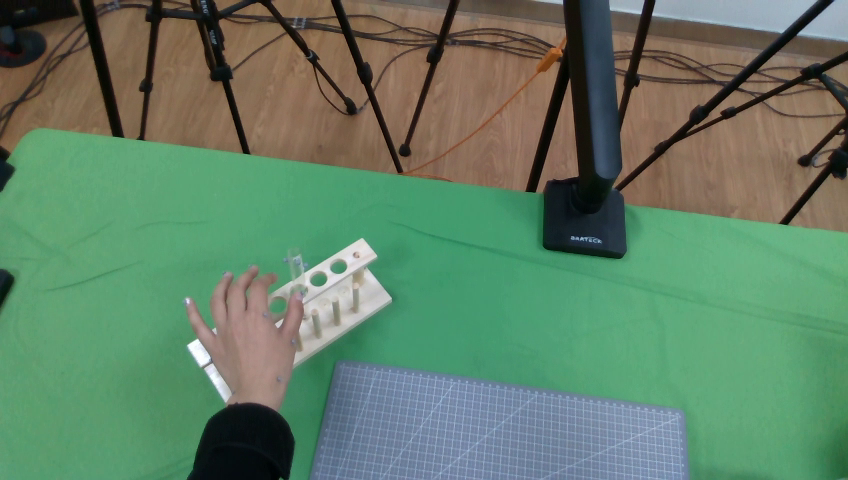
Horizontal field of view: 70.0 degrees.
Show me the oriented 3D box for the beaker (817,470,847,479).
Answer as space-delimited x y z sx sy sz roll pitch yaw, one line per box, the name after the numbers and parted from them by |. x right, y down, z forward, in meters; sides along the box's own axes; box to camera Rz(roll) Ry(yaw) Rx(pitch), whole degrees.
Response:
0.279 0.212 0.433 0.073 0.101 0.084 37 67 11 | beaker

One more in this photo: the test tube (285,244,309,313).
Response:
-0.152 0.050 0.732 0.017 0.151 0.017 3 56 -4 | test tube

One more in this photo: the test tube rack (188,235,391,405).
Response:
-0.159 0.098 0.761 0.242 0.086 0.066 -33 67 -20 | test tube rack
